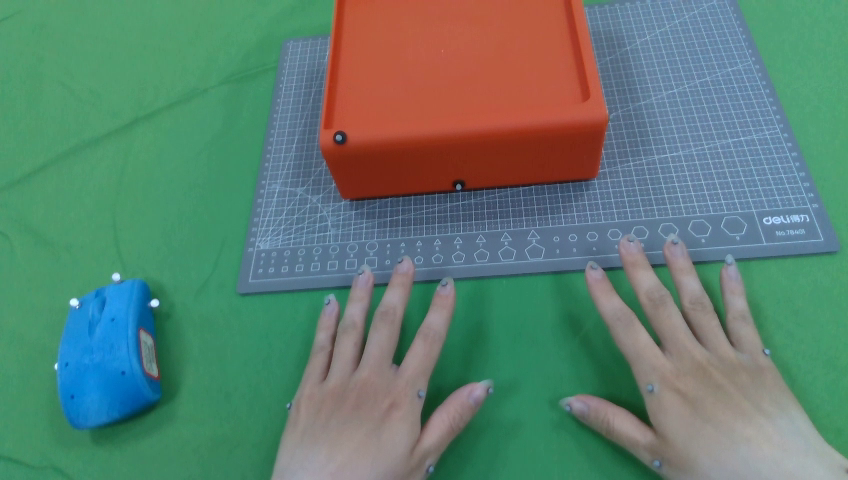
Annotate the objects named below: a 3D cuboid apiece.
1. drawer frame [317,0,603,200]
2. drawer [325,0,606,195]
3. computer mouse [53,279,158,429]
[{"bbox_3d":[0.030,-0.139,0.515,0.213,0.083,0.200,-6,58,6],"label":"drawer frame"},{"bbox_3d":[0.033,-0.139,0.516,0.211,0.074,0.192,-4,58,7],"label":"drawer"},{"bbox_3d":[-0.237,0.079,0.450,0.063,0.041,0.116,-21,53,-2],"label":"computer mouse"}]
